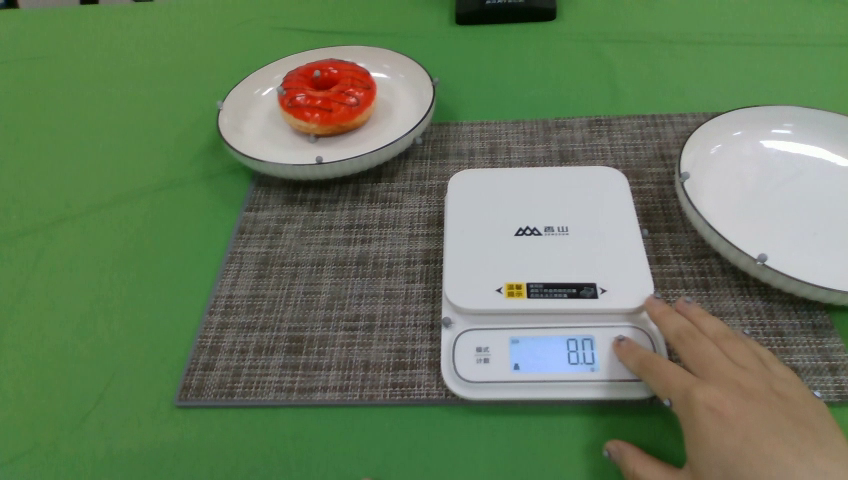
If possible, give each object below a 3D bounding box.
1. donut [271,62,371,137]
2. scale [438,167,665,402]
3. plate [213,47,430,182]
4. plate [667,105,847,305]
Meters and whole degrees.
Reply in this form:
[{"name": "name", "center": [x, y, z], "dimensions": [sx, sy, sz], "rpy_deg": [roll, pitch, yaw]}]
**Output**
[{"name": "donut", "center": [-0.099, -0.137, 0.593], "dimensions": [0.099, 0.049, 0.098], "rpy_deg": [-2, 46, 2]}, {"name": "scale", "center": [0.085, 0.023, 0.448], "dimensions": [0.148, 0.032, 0.199], "rpy_deg": [-1, 49, 5]}, {"name": "plate", "center": [-0.097, -0.122, 0.593], "dimensions": [0.209, 0.038, 0.207], "rpy_deg": [-3, 46, 4]}, {"name": "plate", "center": [0.294, -0.030, 0.473], "dimensions": [0.207, 0.039, 0.205], "rpy_deg": [-1, 48, 2]}]
